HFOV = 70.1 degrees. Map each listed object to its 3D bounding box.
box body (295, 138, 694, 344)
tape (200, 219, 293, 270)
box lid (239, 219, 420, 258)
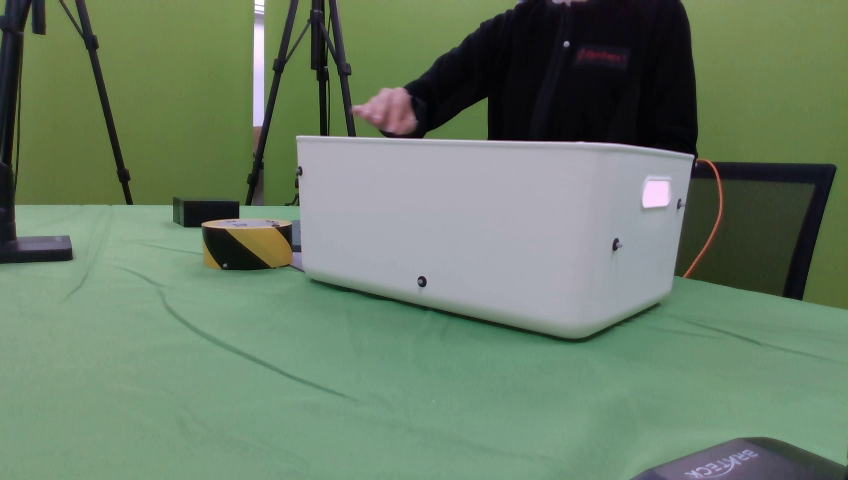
[{"bbox_3d":[0.065,-0.020,0.653,0.362,0.160,0.255,9,9,36],"label":"box body"},{"bbox_3d":[-0.228,0.004,0.777,0.117,0.052,0.117,1,8,0],"label":"tape"},{"bbox_3d":[-0.141,-0.007,1.057,0.263,0.015,0.371,4,7,0],"label":"box lid"}]
